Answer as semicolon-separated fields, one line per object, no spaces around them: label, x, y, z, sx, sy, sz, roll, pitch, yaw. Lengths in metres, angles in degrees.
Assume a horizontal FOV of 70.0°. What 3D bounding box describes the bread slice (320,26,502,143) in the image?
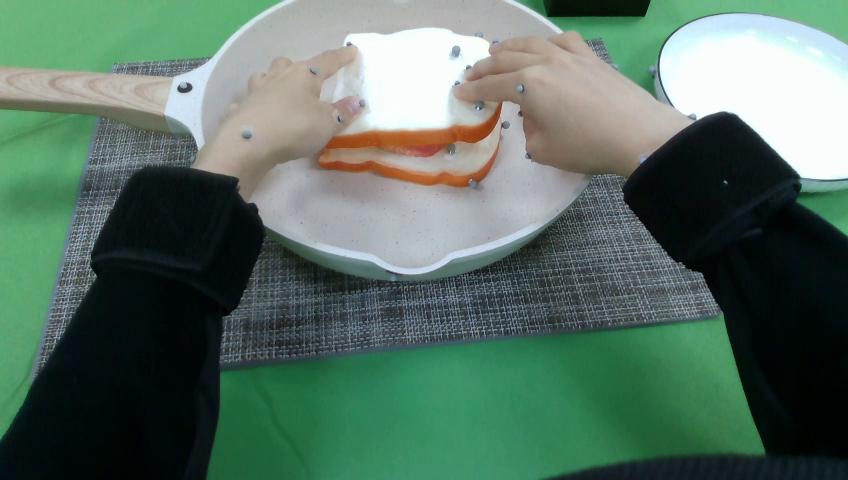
bread slice;-0.007;-0.119;0.453;0.131;0.019;0.104;2;63;4

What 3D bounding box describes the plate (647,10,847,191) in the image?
plate;0.293;-0.119;0.520;0.208;0.039;0.205;1;55;-2

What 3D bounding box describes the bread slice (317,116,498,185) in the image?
bread slice;-0.008;-0.090;0.488;0.134;0.018;0.106;7;57;3

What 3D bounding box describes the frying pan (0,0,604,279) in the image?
frying pan;-0.120;-0.097;0.440;0.489;0.103;0.303;5;54;-10
